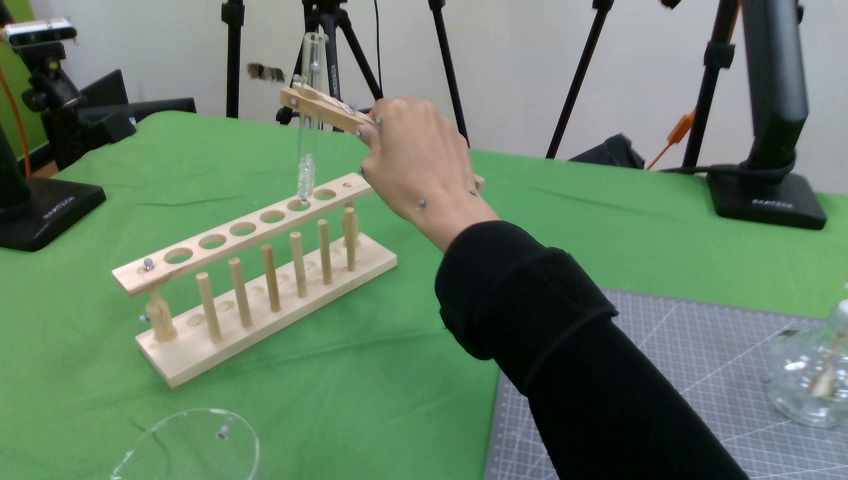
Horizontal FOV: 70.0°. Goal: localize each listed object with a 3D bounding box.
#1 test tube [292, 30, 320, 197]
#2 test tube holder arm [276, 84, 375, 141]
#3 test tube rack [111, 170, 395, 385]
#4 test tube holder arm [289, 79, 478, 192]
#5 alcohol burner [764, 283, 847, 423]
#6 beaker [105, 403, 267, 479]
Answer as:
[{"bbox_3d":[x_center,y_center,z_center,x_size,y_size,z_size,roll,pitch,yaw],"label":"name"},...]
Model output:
[{"bbox_3d":[-0.098,-0.097,0.496,0.017,0.151,0.017,8,40,-7],"label":"test tube"},{"bbox_3d":[-0.076,-0.100,0.474,0.087,0.015,0.010,23,41,10],"label":"test tube holder arm"},{"bbox_3d":[-0.139,0.023,0.553,0.242,0.086,0.066,-28,45,-35],"label":"test tube rack"},{"bbox_3d":[-0.035,-0.083,0.468,0.177,0.015,0.013,29,43,16],"label":"test tube holder arm"},{"bbox_3d":[0.305,0.080,0.456,0.078,0.120,0.077,1,34,0],"label":"alcohol burner"},{"bbox_3d":[-0.129,0.158,0.354,0.084,0.101,0.073,-6,36,-9],"label":"beaker"}]
